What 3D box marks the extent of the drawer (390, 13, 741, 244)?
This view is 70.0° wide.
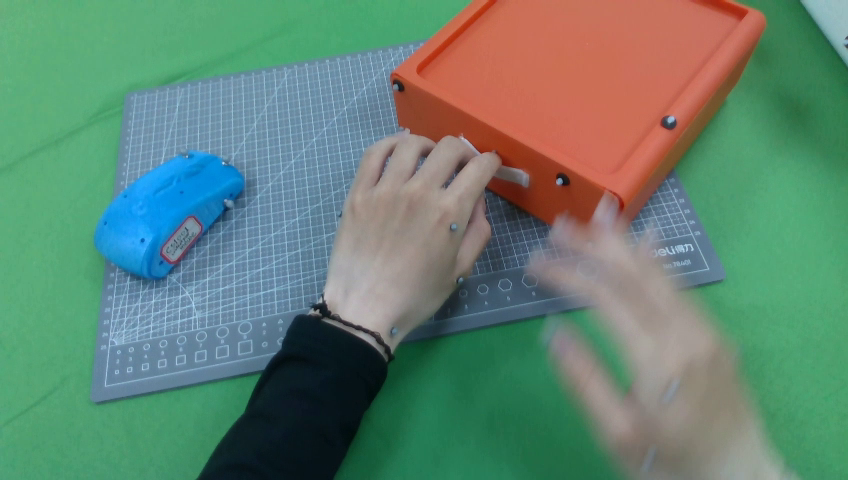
[{"bbox_3d":[0.115,-0.129,0.479,0.193,0.074,0.211,34,67,22],"label":"drawer"}]

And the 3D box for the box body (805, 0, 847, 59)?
[{"bbox_3d":[0.466,-0.226,0.463,0.254,0.162,0.360,-10,59,-1],"label":"box body"}]

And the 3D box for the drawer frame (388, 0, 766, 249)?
[{"bbox_3d":[0.116,-0.131,0.478,0.200,0.083,0.213,33,66,22],"label":"drawer frame"}]

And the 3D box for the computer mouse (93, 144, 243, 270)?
[{"bbox_3d":[-0.199,-0.032,0.472,0.062,0.041,0.117,26,60,20],"label":"computer mouse"}]
